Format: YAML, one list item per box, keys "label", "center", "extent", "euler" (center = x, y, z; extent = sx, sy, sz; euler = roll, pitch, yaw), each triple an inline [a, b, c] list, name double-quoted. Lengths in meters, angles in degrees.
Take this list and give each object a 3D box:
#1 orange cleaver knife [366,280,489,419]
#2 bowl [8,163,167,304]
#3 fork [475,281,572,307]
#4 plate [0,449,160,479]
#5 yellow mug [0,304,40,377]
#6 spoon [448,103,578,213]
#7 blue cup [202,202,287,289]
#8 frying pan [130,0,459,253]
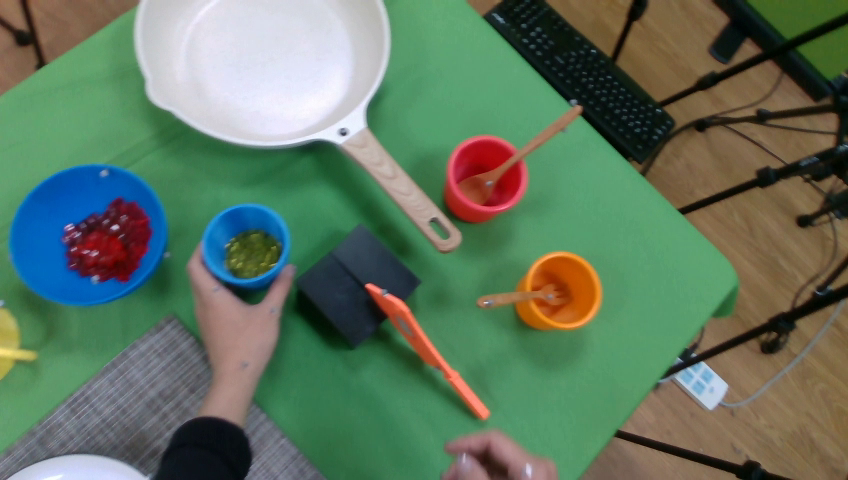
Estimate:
- label: "orange cleaver knife"
  center: [0.005, 0.125, 0.684]
  extent: [0.012, 0.076, 0.213]
  euler: [-44, 115, -17]
- label: "bowl"
  center: [-0.350, 0.001, 0.657]
  extent: [0.152, 0.077, 0.150]
  euler: [2, 76, -9]
- label: "fork"
  center: [0.117, 0.062, 0.684]
  extent: [0.208, 0.018, 0.028]
  euler: [2, 70, -54]
- label: "plate"
  center: [-0.345, 0.312, 0.595]
  extent: [0.210, 0.038, 0.208]
  euler: [2, 76, -9]
- label: "yellow mug"
  center: [-0.464, 0.105, 0.617]
  extent: [0.131, 0.064, 0.099]
  euler: [10, 75, -8]
- label: "spoon"
  center: [0.104, -0.097, 0.725]
  extent: [0.194, 0.022, 0.041]
  euler: [-38, 81, 28]
- label: "blue cup"
  center: [-0.191, 0.015, 0.668]
  extent: [0.093, 0.100, 0.092]
  euler: [2, 74, -8]
- label: "frying pan"
  center: [-0.129, -0.165, 0.723]
  extent: [0.306, 0.103, 0.485]
  euler: [-38, 77, -15]
